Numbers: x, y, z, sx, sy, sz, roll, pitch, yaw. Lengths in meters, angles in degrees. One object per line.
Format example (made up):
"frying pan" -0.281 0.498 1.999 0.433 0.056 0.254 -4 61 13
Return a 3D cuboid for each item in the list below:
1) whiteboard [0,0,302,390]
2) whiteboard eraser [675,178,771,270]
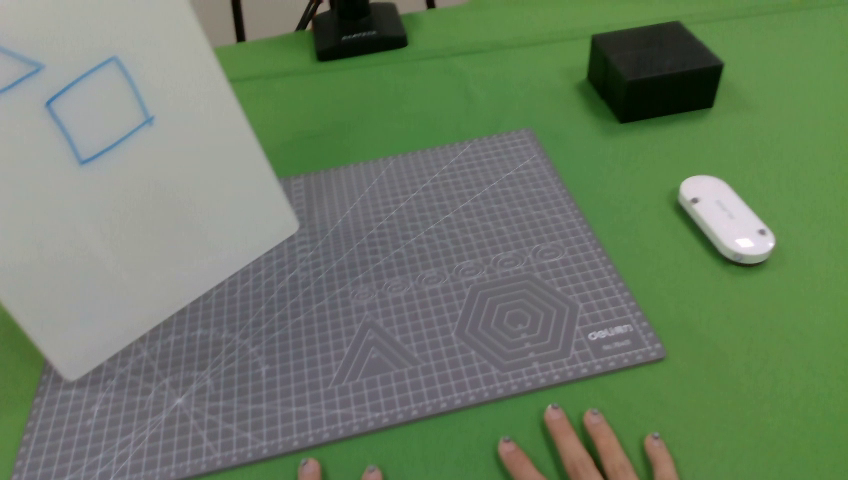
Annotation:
"whiteboard" -0.277 -0.084 0.477 0.217 0.308 0.142 -38 32 -27
"whiteboard eraser" 0.246 -0.017 0.504 0.041 0.019 0.100 -12 45 -6
